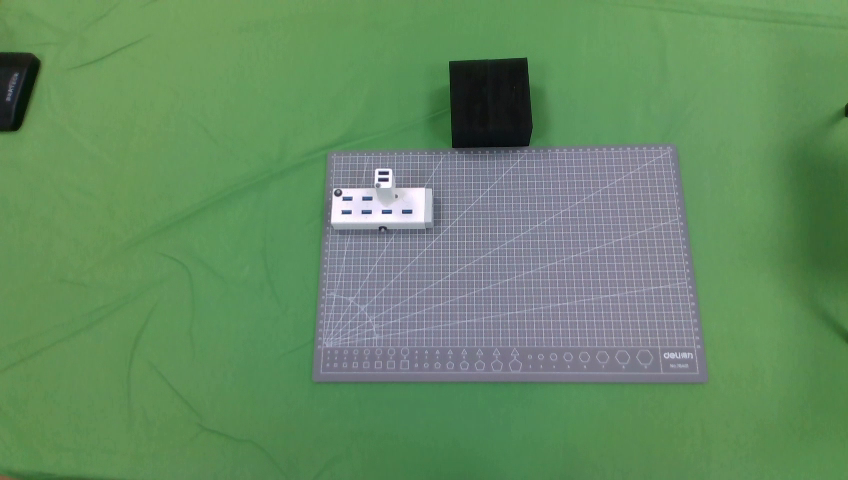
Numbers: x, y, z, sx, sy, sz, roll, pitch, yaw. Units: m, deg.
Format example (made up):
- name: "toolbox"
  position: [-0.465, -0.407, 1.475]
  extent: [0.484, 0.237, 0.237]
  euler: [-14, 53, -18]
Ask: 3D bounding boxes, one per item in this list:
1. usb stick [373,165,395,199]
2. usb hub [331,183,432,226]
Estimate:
- name: "usb stick"
  position: [-0.047, -0.067, 0.732]
  extent: [0.021, 0.059, 0.027]
  euler: [1, 70, 3]
- name: "usb hub"
  position: [-0.053, -0.044, 0.755]
  extent: [0.125, 0.025, 0.049]
  euler: [-1, 71, 2]
